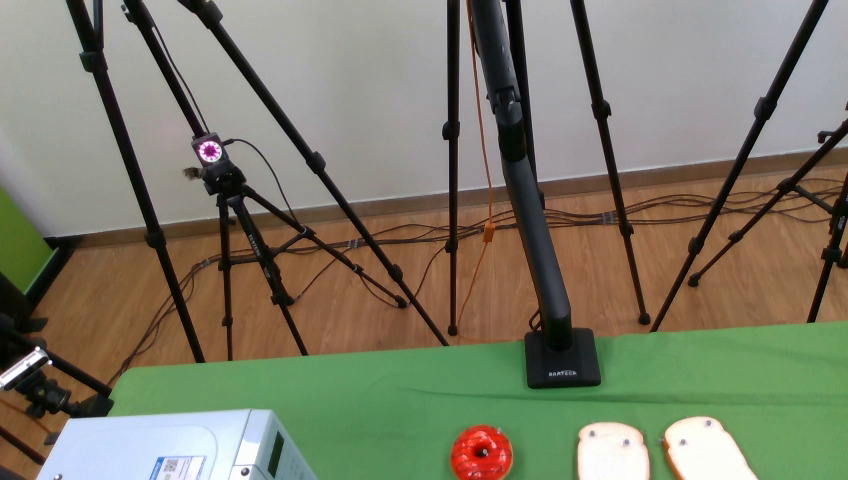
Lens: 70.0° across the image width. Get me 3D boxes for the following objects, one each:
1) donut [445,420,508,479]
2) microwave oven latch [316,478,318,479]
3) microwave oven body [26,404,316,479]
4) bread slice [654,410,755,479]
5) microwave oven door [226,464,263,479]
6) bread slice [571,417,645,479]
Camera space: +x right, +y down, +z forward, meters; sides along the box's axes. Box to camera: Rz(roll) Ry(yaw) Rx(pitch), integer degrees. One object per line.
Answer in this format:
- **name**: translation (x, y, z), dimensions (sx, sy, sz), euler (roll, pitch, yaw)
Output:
- **donut**: translation (0.080, 0.322, 0.926), dimensions (0.099, 0.049, 0.098), euler (-10, 41, 9)
- **microwave oven latch**: translation (-0.173, 0.394, 0.896), dimensions (0.030, 0.030, 0.078), euler (-5, 43, 10)
- **microwave oven body**: translation (-0.347, 0.460, 0.728), dimensions (0.325, 0.263, 0.437), euler (-6, 43, 9)
- **bread slice**: translation (0.395, 0.307, 0.872), dimensions (0.105, 0.019, 0.130), euler (-14, 43, 0)
- **microwave oven door**: translation (-0.206, 0.469, 0.671), dimensions (0.039, 0.246, 0.352), euler (-6, 42, 10)
- **bread slice**: translation (0.266, 0.324, 0.890), dimensions (0.107, 0.018, 0.133), euler (-5, 43, 10)
